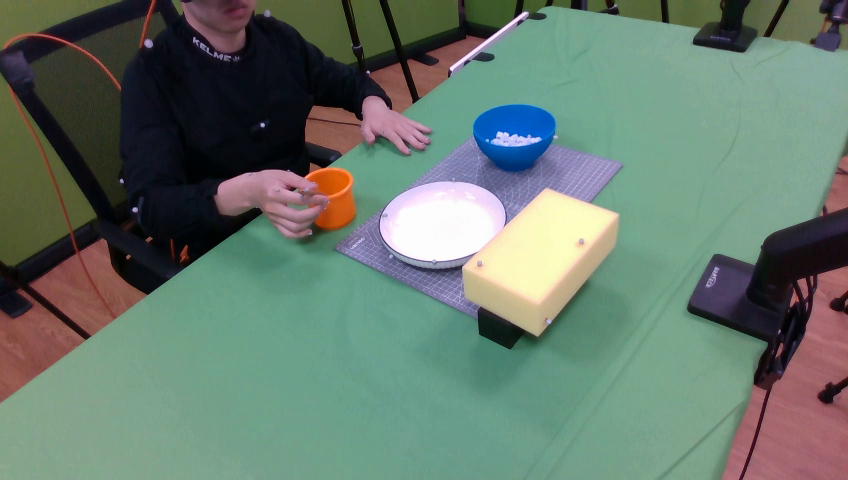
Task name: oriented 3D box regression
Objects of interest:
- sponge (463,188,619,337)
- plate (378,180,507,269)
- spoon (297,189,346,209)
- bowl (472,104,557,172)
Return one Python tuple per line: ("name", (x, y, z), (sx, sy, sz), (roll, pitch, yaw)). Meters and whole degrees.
("sponge", (0.160, 0.022, 0.814), (0.117, 0.061, 0.207), (24, 50, 32))
("plate", (0.031, -0.022, 0.974), (0.209, 0.038, 0.208), (-4, 40, 4))
("spoon", (-0.169, -0.069, 0.979), (0.041, 0.194, 0.021), (0, 85, 10))
("bowl", (0.165, -0.178, 1.105), (0.151, 0.077, 0.150), (-4, 40, 4))
